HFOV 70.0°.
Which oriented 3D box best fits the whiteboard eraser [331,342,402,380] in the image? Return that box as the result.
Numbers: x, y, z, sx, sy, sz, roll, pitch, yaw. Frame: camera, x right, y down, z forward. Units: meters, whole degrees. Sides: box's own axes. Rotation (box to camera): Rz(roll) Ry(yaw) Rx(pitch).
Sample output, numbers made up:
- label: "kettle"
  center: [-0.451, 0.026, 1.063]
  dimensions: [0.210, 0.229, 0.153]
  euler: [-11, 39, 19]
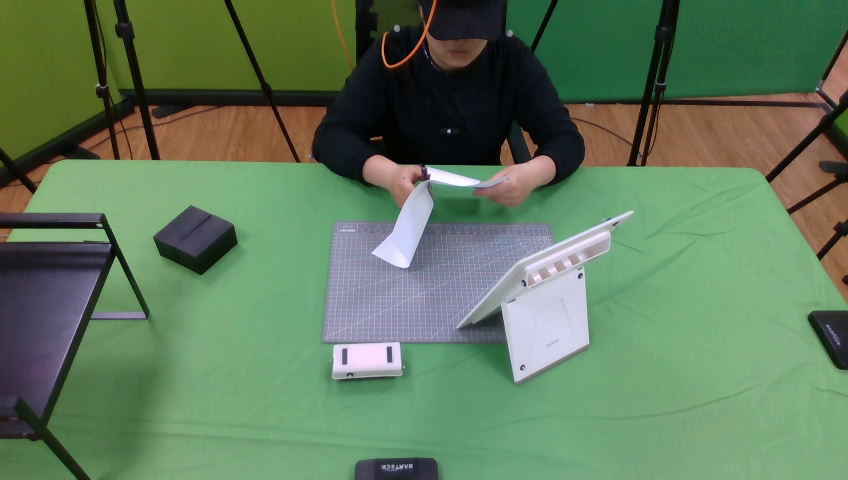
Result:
- label: "whiteboard eraser"
  center: [-0.094, 0.198, 0.986]
  dimensions: [0.113, 0.042, 0.055]
  euler: [-2, 44, -6]

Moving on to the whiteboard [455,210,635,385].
- label: "whiteboard"
  center: [0.211, 0.111, 0.955]
  dimensions: [0.217, 0.306, 0.143]
  euler: [-21, 71, -23]

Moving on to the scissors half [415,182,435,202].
- label: "scissors half"
  center: [0.006, -0.093, 1.145]
  dimensions: [0.013, 0.175, 0.040]
  euler: [-25, 95, -6]

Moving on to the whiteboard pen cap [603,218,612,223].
- label: "whiteboard pen cap"
  center: [0.379, -0.031, 1.255]
  dimensions: [0.033, 0.018, 0.018]
  euler: [-33, 57, -29]

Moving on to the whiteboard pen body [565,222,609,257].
- label: "whiteboard pen body"
  center: [0.335, -0.004, 1.228]
  dimensions: [0.141, 0.017, 0.017]
  euler: [-33, 56, -29]

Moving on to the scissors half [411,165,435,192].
- label: "scissors half"
  center: [-0.001, -0.111, 1.140]
  dimensions: [0.013, 0.040, 0.174]
  euler: [-20, 22, -8]
